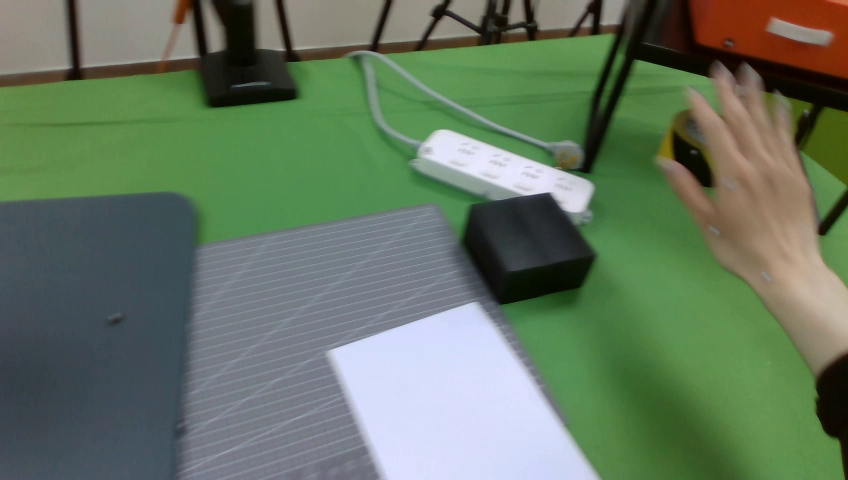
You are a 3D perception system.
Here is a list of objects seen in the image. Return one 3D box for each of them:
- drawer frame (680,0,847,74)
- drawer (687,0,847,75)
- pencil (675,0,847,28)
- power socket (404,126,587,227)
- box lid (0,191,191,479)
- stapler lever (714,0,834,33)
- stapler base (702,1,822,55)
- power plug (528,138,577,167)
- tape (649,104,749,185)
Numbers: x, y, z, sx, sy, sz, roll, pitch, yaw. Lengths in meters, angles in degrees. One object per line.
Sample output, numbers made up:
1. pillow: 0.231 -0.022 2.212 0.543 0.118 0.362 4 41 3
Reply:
1. drawer frame: 0.407 -0.289 0.703 0.201 0.083 0.212 13 44 4
2. drawer: 0.407 -0.285 0.702 0.194 0.074 0.210 14 44 5
3. pencil: 0.386 -0.267 0.706 0.192 0.012 0.012 28 46 33
4. power socket: 0.088 -0.079 0.728 0.226 0.033 0.072 22 45 13
5. box lid: -0.337 0.088 0.497 0.264 0.015 0.367 -5 46 -14
6. stapler lever: 0.386 -0.263 0.667 0.117 0.040 0.027 26 44 17
7. stapler base: 0.385 -0.245 0.684 0.130 0.024 0.041 25 43 18
8. power plug: 0.164 -0.110 0.786 0.072 0.035 0.052 -5 27 38
9. tape: 0.369 -0.130 0.814 0.117 0.053 0.115 5 45 -5
